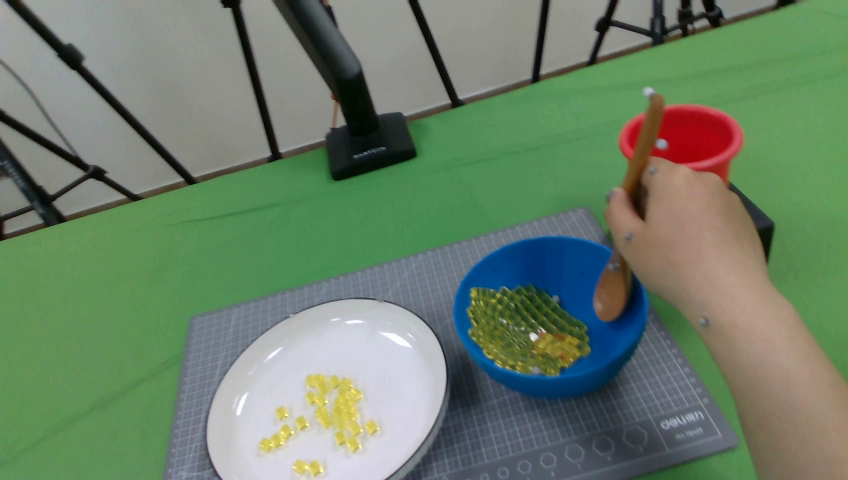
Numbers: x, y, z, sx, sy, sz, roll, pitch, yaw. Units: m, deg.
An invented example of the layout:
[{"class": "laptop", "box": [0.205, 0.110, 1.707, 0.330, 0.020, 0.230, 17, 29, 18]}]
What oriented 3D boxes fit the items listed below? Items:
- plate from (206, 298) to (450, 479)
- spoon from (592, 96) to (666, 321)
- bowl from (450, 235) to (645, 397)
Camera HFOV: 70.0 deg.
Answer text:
[{"class": "plate", "box": [-0.078, 0.136, 0.515, 0.207, 0.039, 0.205, -9, 40, 8]}, {"class": "spoon", "box": [0.142, -0.012, 0.429, 0.021, 0.195, 0.041, -7, 43, -1]}, {"class": "bowl", "box": [0.102, 0.074, 0.496, 0.151, 0.077, 0.150, -9, 40, 8]}]
